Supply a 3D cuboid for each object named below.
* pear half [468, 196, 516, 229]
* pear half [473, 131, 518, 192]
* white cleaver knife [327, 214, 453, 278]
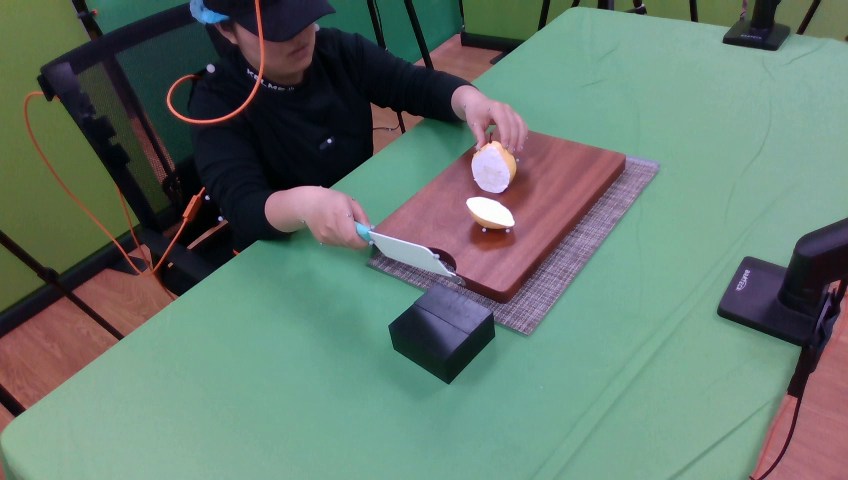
[{"bbox_3d":[0.106,-0.037,0.957,0.071,0.031,0.087,-22,52,-37],"label":"pear half"},{"bbox_3d":[0.122,-0.140,1.017,0.076,0.110,0.056,14,45,21],"label":"pear half"},{"bbox_3d":[-0.058,0.009,0.843,0.021,0.066,0.284,-46,33,-18],"label":"white cleaver knife"}]
